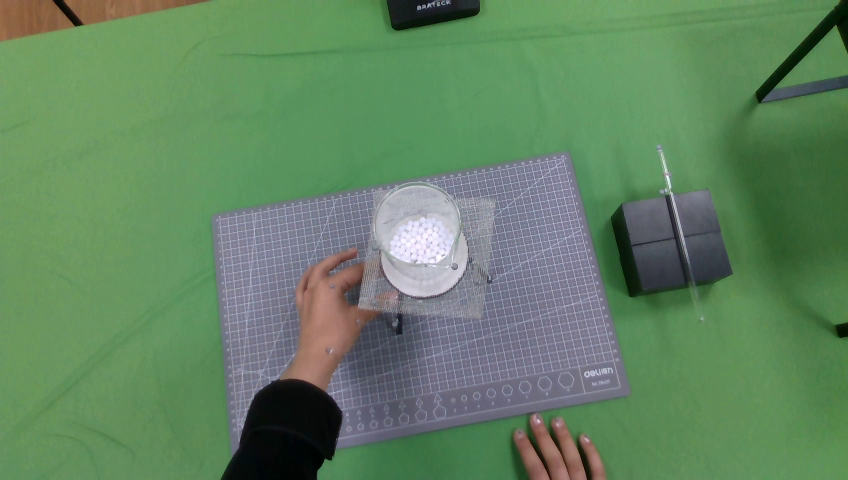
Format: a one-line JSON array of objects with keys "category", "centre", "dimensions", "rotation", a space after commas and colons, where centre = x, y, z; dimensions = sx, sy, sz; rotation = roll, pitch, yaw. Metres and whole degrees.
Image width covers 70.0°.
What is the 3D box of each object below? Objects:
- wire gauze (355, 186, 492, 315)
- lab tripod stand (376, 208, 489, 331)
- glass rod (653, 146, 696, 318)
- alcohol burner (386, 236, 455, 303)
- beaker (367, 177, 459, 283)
[{"category": "wire gauze", "centre": [0.001, 0.009, 0.591], "dimensions": [0.121, 0.011, 0.124], "rotation": [7, 74, 3]}, {"category": "lab tripod stand", "centre": [-0.002, 0.025, 0.655], "dimensions": [0.148, 0.132, 0.147], "rotation": [-1, 75, 4]}, {"category": "glass rod", "centre": [0.278, -0.012, 0.673], "dimensions": [0.008, 0.008, 0.198], "rotation": [-7, 76, 0]}, {"category": "alcohol burner", "centre": [-0.005, 0.029, 0.664], "dimensions": [0.078, 0.119, 0.077], "rotation": [-1, 77, 3]}, {"category": "beaker", "centre": [-0.004, -0.002, 0.544], "dimensions": [0.074, 0.101, 0.083], "rotation": [-37, 77, -7]}]
